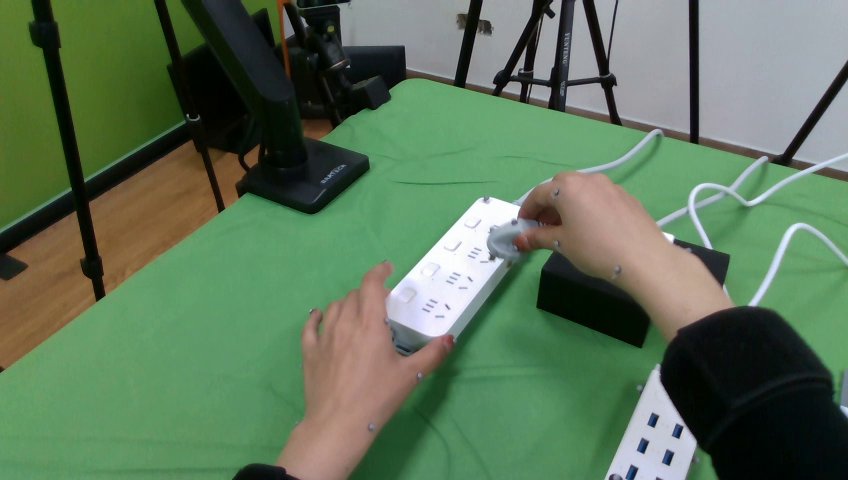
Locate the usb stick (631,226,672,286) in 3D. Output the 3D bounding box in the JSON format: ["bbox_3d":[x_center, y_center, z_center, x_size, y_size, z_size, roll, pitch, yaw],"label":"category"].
[{"bbox_3d":[0.197,0.015,0.531,0.021,0.027,0.059,21,48,22],"label":"usb stick"}]

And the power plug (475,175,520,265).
[{"bbox_3d":[0.060,-0.016,0.535,0.035,0.053,0.072,7,43,-29],"label":"power plug"}]

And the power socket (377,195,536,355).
[{"bbox_3d":[0.038,0.025,0.596,0.071,0.033,0.226,23,46,24],"label":"power socket"}]

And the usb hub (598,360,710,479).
[{"bbox_3d":[0.174,0.147,0.455,0.049,0.025,0.125,21,45,26],"label":"usb hub"}]
